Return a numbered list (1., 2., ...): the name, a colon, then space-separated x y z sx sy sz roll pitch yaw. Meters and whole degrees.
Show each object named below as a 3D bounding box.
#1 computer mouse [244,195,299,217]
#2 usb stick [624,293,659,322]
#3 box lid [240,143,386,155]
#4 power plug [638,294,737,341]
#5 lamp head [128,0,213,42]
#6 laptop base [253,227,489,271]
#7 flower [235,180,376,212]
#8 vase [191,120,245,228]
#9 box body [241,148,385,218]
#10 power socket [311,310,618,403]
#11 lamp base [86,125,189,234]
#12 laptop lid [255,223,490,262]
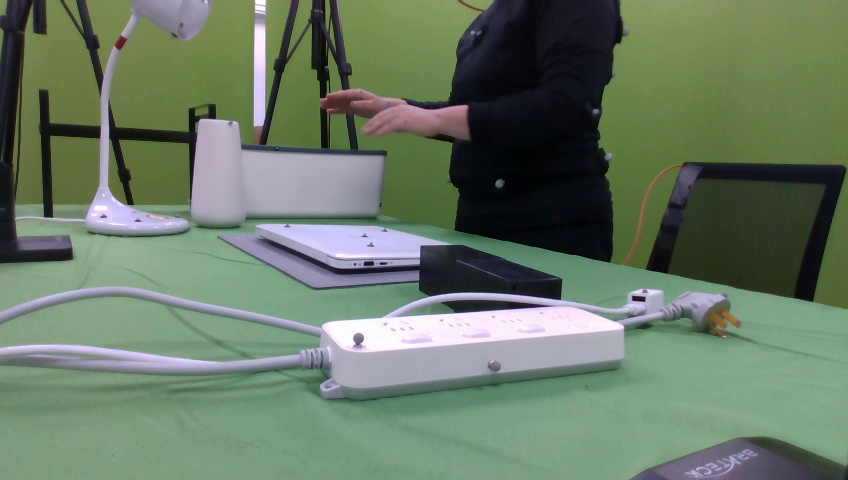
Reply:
1. computer mouse: -0.346 -0.077 1.372 0.118 0.041 0.062 -11 18 -33
2. usb stick: 0.211 0.064 0.580 0.021 0.027 0.059 -3 -5 35
3. box lid: -0.304 -0.217 1.463 0.373 0.015 0.262 -2 8 -30
4. power plug: 0.235 0.077 0.535 0.072 0.035 0.052 -34 40 -6
5. lamp head: -0.423 -0.394 0.980 0.123 0.112 0.112 20 7 -3
6. laptop base: -0.096 0.012 0.911 0.237 0.023 0.352 2 6 -32
7. flower: -0.264 -0.092 1.416 0.364 0.038 0.044 8 -41 -39
8. vase: -0.389 -0.124 1.143 0.098 0.200 0.098 3 9 0
9. box body: -0.306 -0.144 1.474 0.366 0.160 0.253 -1 9 -30
10. power socket: 0.034 0.074 0.415 0.228 0.032 0.072 -1 7 -24
11. lamp base: -0.497 -0.105 1.027 0.179 0.180 0.160 1 7 3
12. laptop lid: -0.093 0.000 0.911 0.243 0.013 0.355 1 7 -30
